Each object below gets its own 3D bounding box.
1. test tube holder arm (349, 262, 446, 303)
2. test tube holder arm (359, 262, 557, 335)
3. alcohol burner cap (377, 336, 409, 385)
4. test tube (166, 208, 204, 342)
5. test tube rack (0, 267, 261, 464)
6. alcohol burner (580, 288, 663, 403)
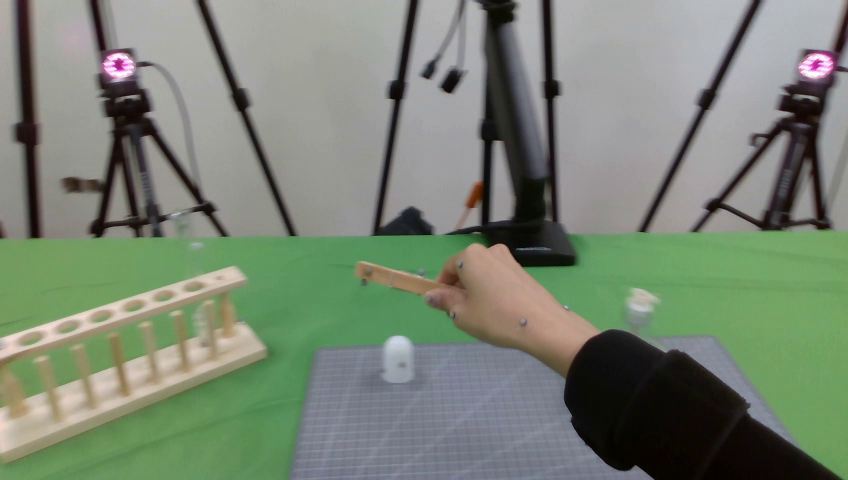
[{"bbox_3d":[-0.022,0.035,0.503,0.087,0.015,0.010,15,6,20],"label":"test tube holder arm"},{"bbox_3d":[0.021,0.045,0.493,0.177,0.015,0.013,15,6,20],"label":"test tube holder arm"},{"bbox_3d":[-0.032,0.120,0.616,0.034,0.048,0.033,0,28,0],"label":"alcohol burner cap"},{"bbox_3d":[-0.242,0.039,0.622,0.017,0.151,0.017,-1,23,1],"label":"test tube"},{"bbox_3d":[-0.290,0.111,0.590,0.243,0.086,0.066,-19,34,-33],"label":"test tube rack"},{"bbox_3d":[0.193,0.097,0.584,0.078,0.120,0.077,2,28,-1],"label":"alcohol burner"}]
